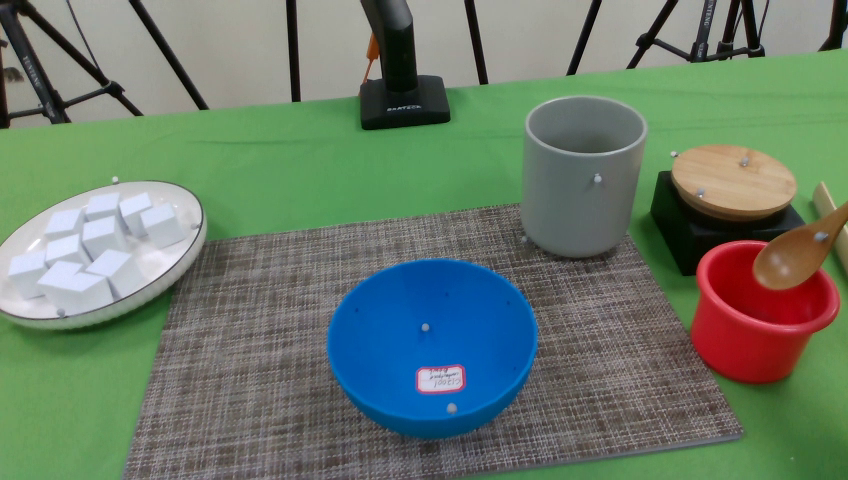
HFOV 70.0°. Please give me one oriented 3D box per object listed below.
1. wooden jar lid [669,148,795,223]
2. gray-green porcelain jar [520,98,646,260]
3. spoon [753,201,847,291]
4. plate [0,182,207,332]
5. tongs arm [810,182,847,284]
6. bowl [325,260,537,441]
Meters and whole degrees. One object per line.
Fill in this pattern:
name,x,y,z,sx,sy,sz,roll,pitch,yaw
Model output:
wooden jar lid,0.287,-0.051,0.570,0.108,0.021,0.107,-3,40,3
gray-green porcelain jar,0.145,-0.053,0.573,0.106,0.127,0.105,-3,41,3
spoon,0.298,-0.030,0.403,0.022,0.194,0.041,5,48,-23
plate,-0.320,0.016,0.606,0.209,0.038,0.207,-3,41,3
tongs arm,0.381,0.074,0.487,0.028,0.028,0.384,4,41,7
bowl,0.007,0.093,0.453,0.151,0.077,0.150,-2,40,2
